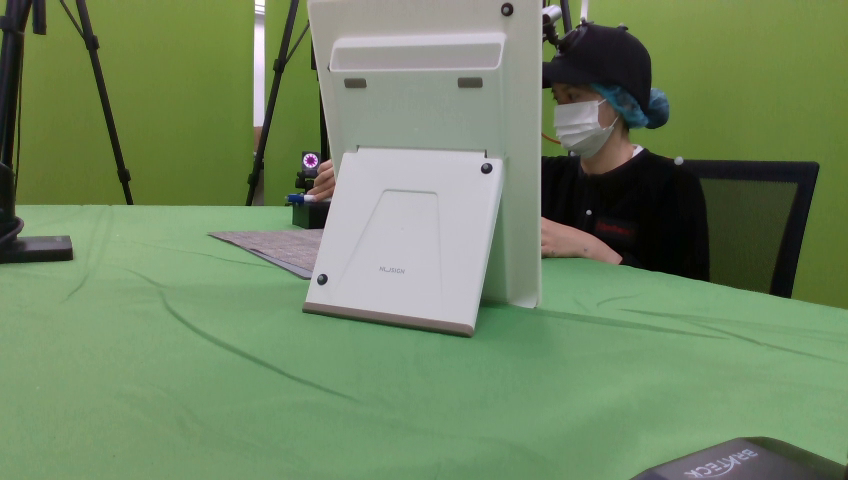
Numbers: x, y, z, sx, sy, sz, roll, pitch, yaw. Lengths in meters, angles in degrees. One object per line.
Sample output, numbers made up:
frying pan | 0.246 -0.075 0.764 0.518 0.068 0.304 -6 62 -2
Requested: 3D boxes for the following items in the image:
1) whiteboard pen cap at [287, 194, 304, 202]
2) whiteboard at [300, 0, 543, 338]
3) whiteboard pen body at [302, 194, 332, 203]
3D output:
whiteboard pen cap | -0.258 -0.083 1.211 0.033 0.018 0.018 1 8 -20
whiteboard | -0.020 -0.050 0.523 0.216 0.305 0.144 6 27 22
whiteboard pen body | -0.200 -0.085 1.233 0.141 0.017 0.017 1 8 -19
